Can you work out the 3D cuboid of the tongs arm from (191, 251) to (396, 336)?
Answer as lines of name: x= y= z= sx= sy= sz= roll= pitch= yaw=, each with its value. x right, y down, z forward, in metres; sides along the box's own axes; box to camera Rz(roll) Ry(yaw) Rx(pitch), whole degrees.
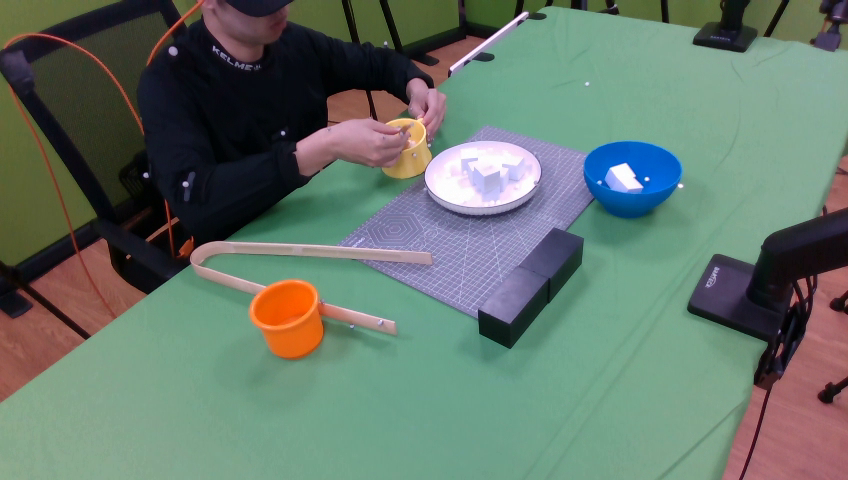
tongs arm: x=-0.204 y=0.074 z=0.902 sx=0.382 sy=0.026 sz=0.051 roll=11 pitch=44 yaw=22

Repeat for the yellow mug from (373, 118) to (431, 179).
yellow mug: x=-0.031 y=-0.183 z=1.140 sx=0.099 sy=0.064 sz=0.131 roll=25 pitch=58 yaw=29

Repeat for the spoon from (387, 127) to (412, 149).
spoon: x=-0.041 y=-0.182 z=1.071 sx=0.042 sy=0.021 sz=0.193 roll=-14 pitch=0 yaw=-7

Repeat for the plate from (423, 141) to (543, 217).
plate: x=0.103 y=-0.104 z=1.059 sx=0.207 sy=0.039 sz=0.206 roll=-4 pitch=40 yaw=4

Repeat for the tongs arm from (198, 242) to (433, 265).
tongs arm: x=-0.176 y=0.024 z=0.960 sx=0.386 sy=0.028 sz=0.028 roll=2 pitch=45 yaw=12

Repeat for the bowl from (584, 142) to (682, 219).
bowl: x=0.333 y=-0.087 z=0.980 sx=0.151 sy=0.077 sz=0.150 roll=-4 pitch=40 yaw=3
